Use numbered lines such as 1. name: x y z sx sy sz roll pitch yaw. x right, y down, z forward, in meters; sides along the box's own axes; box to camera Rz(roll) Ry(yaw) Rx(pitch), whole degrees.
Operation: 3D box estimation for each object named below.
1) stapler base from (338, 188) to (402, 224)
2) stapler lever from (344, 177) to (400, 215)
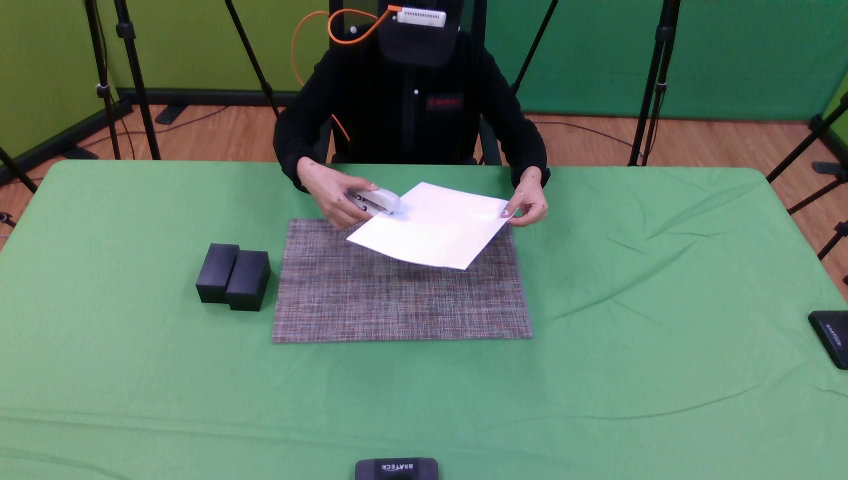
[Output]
1. stapler base: -0.096 -0.070 1.102 0.130 0.024 0.041 30 29 24
2. stapler lever: -0.092 -0.087 1.092 0.117 0.040 0.027 35 32 22
